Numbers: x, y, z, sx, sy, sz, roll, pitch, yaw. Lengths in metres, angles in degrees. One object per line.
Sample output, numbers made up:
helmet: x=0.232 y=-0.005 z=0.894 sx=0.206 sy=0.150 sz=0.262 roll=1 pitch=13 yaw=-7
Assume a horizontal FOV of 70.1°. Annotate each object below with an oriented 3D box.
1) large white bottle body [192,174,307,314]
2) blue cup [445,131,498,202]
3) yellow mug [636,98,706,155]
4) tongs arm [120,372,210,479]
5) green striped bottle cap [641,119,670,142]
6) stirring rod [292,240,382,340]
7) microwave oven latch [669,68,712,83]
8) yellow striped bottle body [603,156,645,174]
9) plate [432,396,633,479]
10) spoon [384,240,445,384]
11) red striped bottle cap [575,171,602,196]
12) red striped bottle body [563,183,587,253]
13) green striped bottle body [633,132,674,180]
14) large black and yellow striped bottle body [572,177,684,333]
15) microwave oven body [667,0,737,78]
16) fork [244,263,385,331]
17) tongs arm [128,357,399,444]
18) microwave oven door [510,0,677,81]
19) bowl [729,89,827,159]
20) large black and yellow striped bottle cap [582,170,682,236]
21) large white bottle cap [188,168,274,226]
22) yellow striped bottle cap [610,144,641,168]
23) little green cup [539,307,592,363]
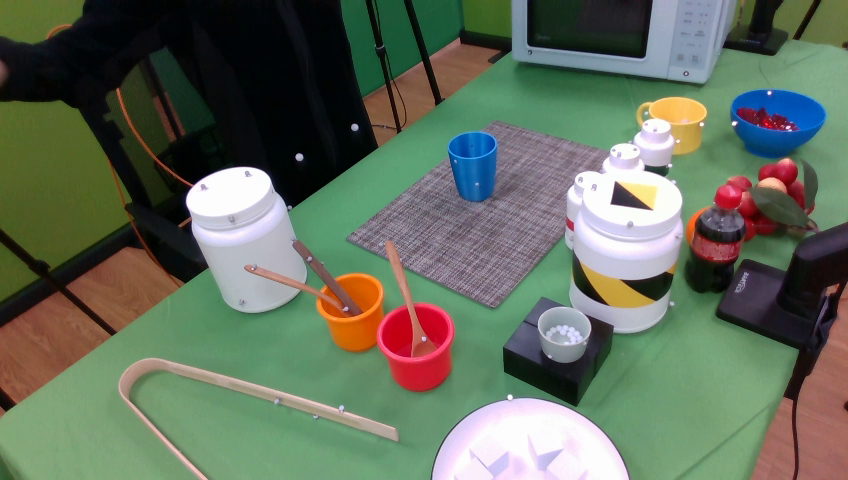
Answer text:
large white bottle body: x=-0.256 y=0.003 z=0.885 sx=0.130 sy=0.185 sz=0.130 roll=-5 pitch=40 yaw=4
blue cup: x=0.087 y=-0.122 z=1.040 sx=0.092 sy=0.100 sz=0.092 roll=-5 pitch=42 yaw=5
yellow mug: x=0.453 y=-0.217 z=1.128 sx=0.100 sy=0.064 sz=0.129 roll=-34 pitch=46 yaw=-27
tongs arm: x=-0.258 y=0.257 z=0.700 sx=0.384 sy=0.028 sz=0.028 roll=24 pitch=55 yaw=34
green striped bottle cap: x=0.371 y=-0.175 z=0.968 sx=0.044 sy=0.020 sz=0.044 roll=-5 pitch=41 yaw=5
stirring rod: x=-0.119 y=0.068 z=0.826 sx=0.176 sy=0.006 sz=0.014 roll=49 pitch=59 yaw=-4
microwave oven latch: x=0.556 y=-0.348 z=1.262 sx=0.078 sy=0.029 sz=0.030 roll=15 pitch=46 yaw=26
yellow striped bottle body: x=0.313 y=-0.089 z=0.956 sx=0.063 sy=0.121 sz=0.062 roll=-4 pitch=40 yaw=4
plate: x=0.112 y=0.261 z=0.634 sx=0.209 sy=0.038 sz=0.208 roll=-5 pitch=40 yaw=4
spoon: x=-0.016 y=0.090 z=0.776 sx=0.042 sy=0.021 sz=0.193 roll=-17 pitch=85 yaw=-10
red striped bottle cap: x=0.242 y=-0.082 z=0.876 sx=0.044 sy=0.018 sz=0.044 roll=-5 pitch=44 yaw=5
red striped bottle body: x=0.246 y=-0.041 z=0.910 sx=0.063 sy=0.120 sz=0.062 roll=-2 pitch=38 yaw=2
green striped bottle body: x=0.376 y=-0.135 z=1.001 sx=0.063 sy=0.120 sz=0.063 roll=-5 pitch=40 yaw=5
large black and yellow striped bottle body: x=0.262 y=0.017 z=0.788 sx=0.131 sy=0.185 sz=0.130 roll=-5 pitch=40 yaw=4
microwave oven body: x=0.462 y=-0.552 z=1.369 sx=0.439 sy=0.261 sz=0.326 roll=15 pitch=46 yaw=26
fork: x=-0.142 y=0.077 z=0.807 sx=0.209 sy=0.018 sz=0.028 roll=30 pitch=40 yaw=-24
tongs arm: x=-0.213 y=0.205 z=0.755 sx=0.382 sy=0.026 sz=0.051 roll=12 pitch=46 yaw=23
microwave oven door: x=0.354 y=-0.478 z=1.290 sx=0.353 sy=0.245 sz=0.039 roll=15 pitch=45 yaw=25
bowl: x=0.615 y=-0.197 z=1.069 sx=0.151 sy=0.077 sz=0.150 roll=-5 pitch=40 yaw=5
large black and yellow striped bottle cap: x=0.252 y=-0.048 z=0.735 sx=0.115 sy=0.019 sz=0.114 roll=-3 pitch=40 yaw=3
large white bottle cap: x=-0.265 y=-0.061 z=0.831 sx=0.115 sy=0.018 sz=0.114 roll=-4 pitch=40 yaw=4
yellow striped bottle cap: x=0.307 y=-0.128 z=0.923 sx=0.044 sy=0.019 sz=0.044 roll=-5 pitch=40 yaw=5
little green cup: x=0.168 y=0.115 z=0.721 sx=0.061 sy=0.039 sz=0.061 roll=-4 pitch=42 yaw=4
